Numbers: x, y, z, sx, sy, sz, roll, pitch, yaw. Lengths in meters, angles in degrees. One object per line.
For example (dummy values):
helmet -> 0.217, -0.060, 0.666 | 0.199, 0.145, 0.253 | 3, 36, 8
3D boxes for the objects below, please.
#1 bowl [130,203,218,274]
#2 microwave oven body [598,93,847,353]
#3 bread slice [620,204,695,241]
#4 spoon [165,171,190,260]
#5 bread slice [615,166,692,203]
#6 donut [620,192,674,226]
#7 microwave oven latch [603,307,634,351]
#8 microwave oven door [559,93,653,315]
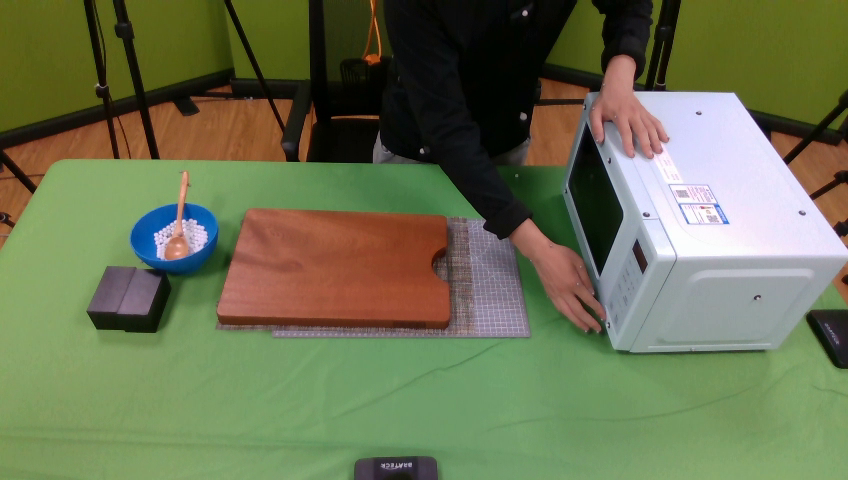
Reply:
bowl -> -0.450, 0.010, 1.116 | 0.151, 0.077, 0.150 | 3, 45, -2
microwave oven body -> 0.475, -0.041, 1.110 | 0.326, 0.261, 0.438 | -1, 45, -4
bread slice -> 0.464, -0.038, 1.203 | 0.131, 0.019, 0.104 | -5, 36, 8
spoon -> -0.452, -0.046, 1.129 | 0.041, 0.022, 0.193 | -1, 69, -2
bread slice -> 0.439, -0.106, 1.152 | 0.135, 0.018, 0.106 | -3, 41, -26
donut -> 0.432, -0.060, 1.175 | 0.099, 0.048, 0.098 | -7, 26, 4
microwave oven latch -> 0.332, 0.153, 1.044 | 0.030, 0.029, 0.078 | 0, 45, -4
microwave oven door -> 0.327, -0.074, 1.123 | 0.039, 0.245, 0.353 | -1, 46, -5
